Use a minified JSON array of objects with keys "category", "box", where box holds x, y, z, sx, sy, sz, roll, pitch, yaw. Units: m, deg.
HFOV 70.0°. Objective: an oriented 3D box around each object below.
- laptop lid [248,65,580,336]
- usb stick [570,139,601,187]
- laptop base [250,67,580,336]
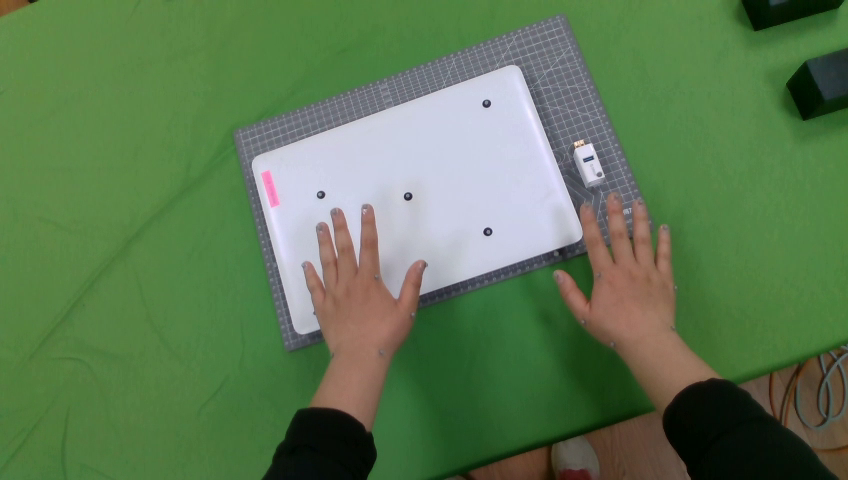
[{"category":"laptop lid","box":[-0.021,-0.050,0.716,0.356,0.013,0.240,-18,77,4]},{"category":"usb stick","box":[0.185,-0.093,0.702,0.021,0.027,0.059,-20,72,8]},{"category":"laptop base","box":[-0.020,-0.050,0.728,0.354,0.023,0.234,-19,78,3]}]
